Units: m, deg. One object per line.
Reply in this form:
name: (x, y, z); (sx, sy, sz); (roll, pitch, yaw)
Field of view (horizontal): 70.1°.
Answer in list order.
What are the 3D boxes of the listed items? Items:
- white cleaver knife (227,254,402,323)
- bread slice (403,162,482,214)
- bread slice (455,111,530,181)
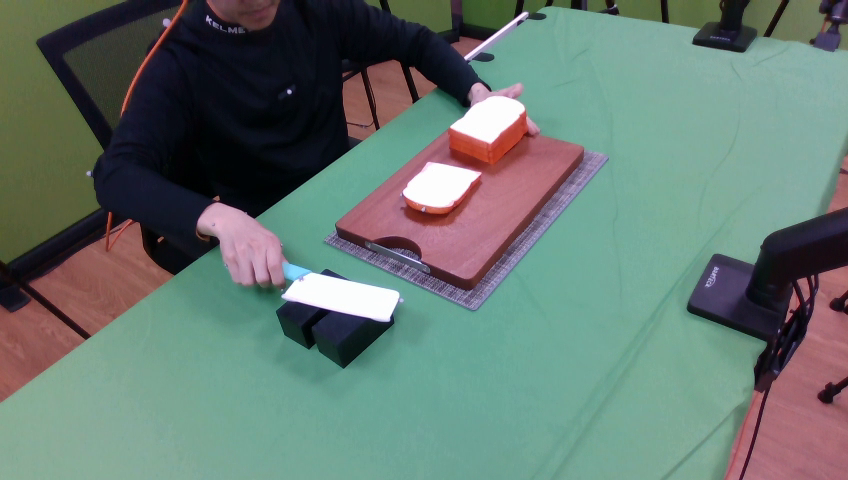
white cleaver knife: (-0.165, 0.064, 0.854); (0.285, 0.021, 0.066); (10, 42, 22)
bread slice: (0.024, -0.087, 1.021); (0.104, 0.019, 0.132); (16, 40, 23)
bread slice: (0.137, -0.185, 1.150); (0.106, 0.018, 0.134); (34, 82, 33)
